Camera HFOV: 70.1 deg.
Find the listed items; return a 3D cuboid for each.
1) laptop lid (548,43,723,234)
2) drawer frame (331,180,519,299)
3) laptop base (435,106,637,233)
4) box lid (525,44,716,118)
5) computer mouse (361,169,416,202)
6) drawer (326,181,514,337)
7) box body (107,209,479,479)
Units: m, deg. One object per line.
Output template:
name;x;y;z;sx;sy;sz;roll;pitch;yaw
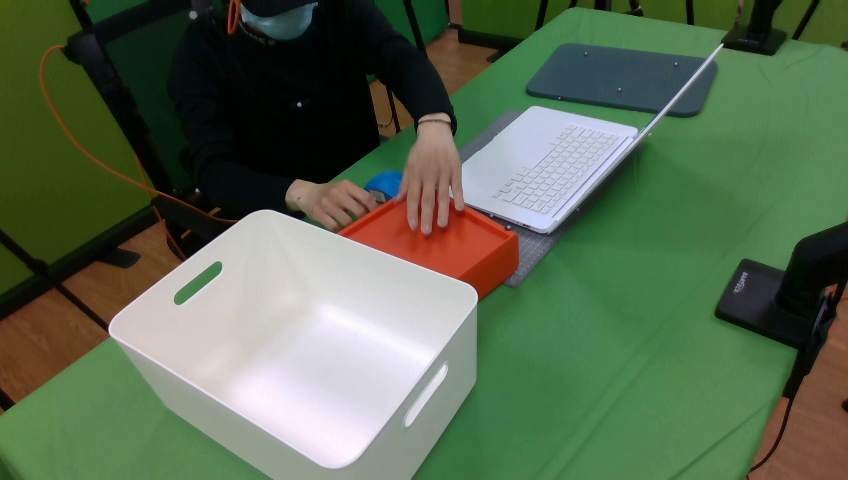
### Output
laptop lid;0.336;-0.160;0.956;0.013;0.241;0.358;43;54;8
drawer frame;-0.003;0.020;0.901;0.202;0.083;0.211;-35;48;-28
laptop base;0.210;-0.142;1.111;0.233;0.023;0.355;21;48;33
box lid;0.432;-0.360;1.341;0.369;0.015;0.263;16;45;24
computer mouse;-0.054;-0.093;1.073;0.116;0.041;0.063;22;45;28
drawer;-0.004;0.020;0.903;0.195;0.073;0.210;-34;48;-27
box body;-0.140;0.136;0.725;0.361;0.161;0.254;19;47;28
